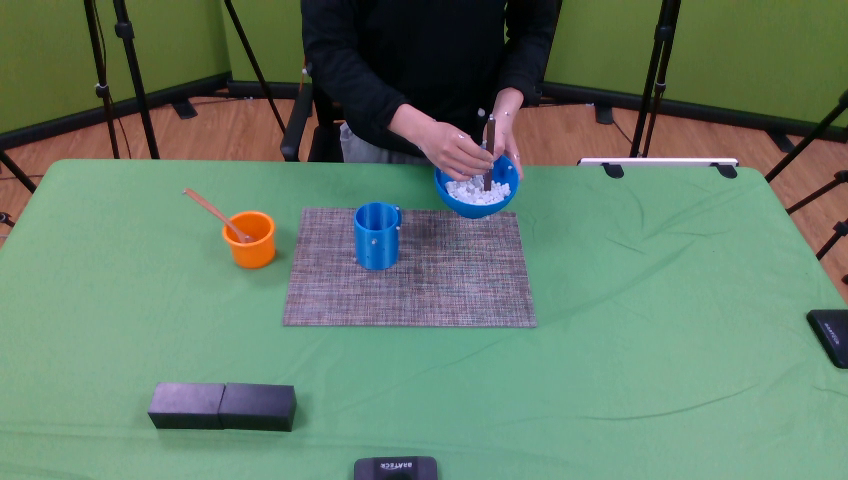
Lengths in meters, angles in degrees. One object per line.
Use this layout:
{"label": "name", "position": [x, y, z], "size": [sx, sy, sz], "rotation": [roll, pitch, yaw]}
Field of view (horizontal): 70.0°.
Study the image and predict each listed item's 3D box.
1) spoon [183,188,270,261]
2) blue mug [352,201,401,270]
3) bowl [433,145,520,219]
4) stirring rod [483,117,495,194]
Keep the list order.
{"label": "spoon", "position": [-0.360, -0.029, 1.110], "size": [0.021, 0.194, 0.041], "rotation": [-21, 30, 41]}
{"label": "blue mug", "position": [-0.082, -0.017, 1.144], "size": [0.082, 0.106, 0.116], "rotation": [30, 51, 22]}
{"label": "bowl", "position": [0.089, -0.091, 1.082], "size": [0.151, 0.077, 0.150], "rotation": [2, 51, -2]}
{"label": "stirring rod", "position": [0.110, -0.140, 1.032], "size": [0.014, 0.177, 0.006], "rotation": [-2, 52, 2]}
